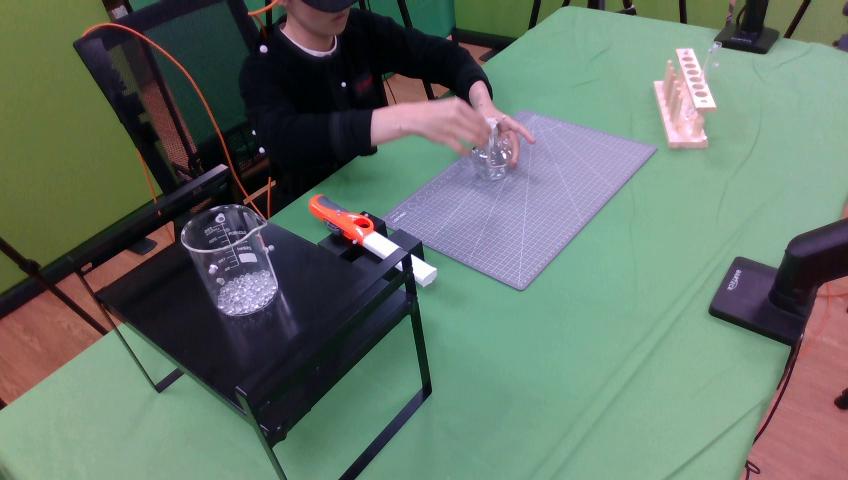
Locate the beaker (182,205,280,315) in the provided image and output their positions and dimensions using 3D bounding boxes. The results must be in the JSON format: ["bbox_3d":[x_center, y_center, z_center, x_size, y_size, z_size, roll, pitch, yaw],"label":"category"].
[{"bbox_3d":[-0.197,0.023,0.641,0.084,0.101,0.073,-12,41,-6],"label":"beaker"}]

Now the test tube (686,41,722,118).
[{"bbox_3d":[0.510,-0.290,1.105,0.017,0.150,0.017,2,44,-1],"label":"test tube"}]

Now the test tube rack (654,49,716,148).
[{"bbox_3d":[0.502,-0.280,1.176,0.066,0.085,0.241,1,41,11],"label":"test tube rack"}]

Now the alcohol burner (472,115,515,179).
[{"bbox_3d":[0.123,-0.169,1.079,0.078,0.119,0.077,-6,41,6],"label":"alcohol burner"}]

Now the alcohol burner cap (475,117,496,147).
[{"bbox_3d":[0.100,-0.180,0.994,0.034,0.048,0.033,-7,41,6],"label":"alcohol burner cap"}]

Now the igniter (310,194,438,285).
[{"bbox_3d":[-0.086,-0.007,0.921,0.274,0.025,0.057,31,50,34],"label":"igniter"}]
